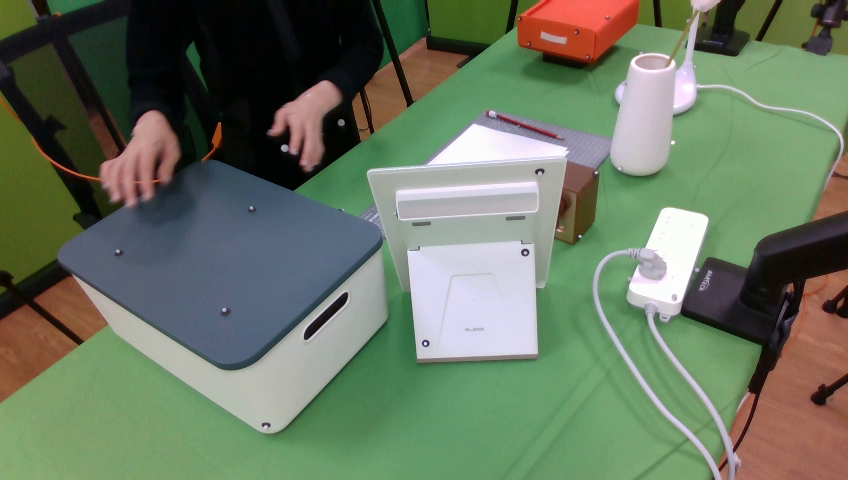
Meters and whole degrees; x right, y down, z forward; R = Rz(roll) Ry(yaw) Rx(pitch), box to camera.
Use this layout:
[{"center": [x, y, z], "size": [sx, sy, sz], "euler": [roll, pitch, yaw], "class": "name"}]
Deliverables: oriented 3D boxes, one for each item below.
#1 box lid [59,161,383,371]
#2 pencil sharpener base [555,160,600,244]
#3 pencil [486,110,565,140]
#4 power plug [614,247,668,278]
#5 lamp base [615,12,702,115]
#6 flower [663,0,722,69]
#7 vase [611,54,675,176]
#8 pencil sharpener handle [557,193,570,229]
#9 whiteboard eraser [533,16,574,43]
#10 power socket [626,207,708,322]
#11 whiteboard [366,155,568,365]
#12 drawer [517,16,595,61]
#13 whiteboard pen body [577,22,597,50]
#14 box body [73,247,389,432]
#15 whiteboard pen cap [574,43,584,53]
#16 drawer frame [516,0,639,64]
[{"center": [-0.262, 0.010, 0.777], "size": [0.369, 0.015, 0.264], "euler": [21, 48, 29], "class": "box lid"}, {"center": [0.228, -0.057, 0.945], "size": [0.061, 0.107, 0.077], "euler": [24, 50, 31], "class": "pencil sharpener base"}, {"center": [0.203, -0.232, 1.226], "size": [0.192, 0.012, 0.012], "euler": [29, 52, 33], "class": "pencil"}, {"center": [0.306, 0.031, 0.851], "size": [0.072, 0.053, 0.035], "euler": [24, 49, 33], "class": "power plug"}, {"center": [0.484, -0.364, 1.211], "size": [0.180, 0.181, 0.159], "euler": [-15, 41, -14], "class": "lamp base"}, {"center": [0.379, -0.261, 0.965], "size": [0.044, 0.362, 0.038], "euler": [20, 53, 5], "class": "flower"}, {"center": [0.377, -0.209, 1.031], "size": [0.098, 0.201, 0.097], "euler": [-3, 40, 3], "class": "vase"}, {"center": [0.195, -0.038, 0.908], "size": [0.035, 0.068, 0.031], "euler": [24, 50, 30], "class": "pencil sharpener handle"}, {"center": [0.305, -0.493, 1.423], "size": [0.055, 0.042, 0.113], "euler": [26, 43, 25], "class": "whiteboard eraser"}, {"center": [0.359, 0.026, 0.886], "size": [0.072, 0.033, 0.227], "euler": [16, 46, 26], "class": "power socket"}, {"center": [0.059, 0.049, 0.738], "size": [0.217, 0.307, 0.143], "euler": [-3, 60, 5], "class": "whiteboard"}, {"center": [0.353, -0.505, 1.404], "size": [0.193, 0.073, 0.212], "euler": [25, 50, 33], "class": "drawer"}, {"center": [0.372, -0.468, 1.390], "size": [0.017, 0.017, 0.141], "euler": [14, 47, 23], "class": "whiteboard pen body"}, {"center": [-0.255, 0.065, 0.827], "size": [0.361, 0.161, 0.255], "euler": [21, 48, 29], "class": "box body"}, {"center": [0.346, -0.430, 1.350], "size": [0.018, 0.018, 0.033], "euler": [15, 37, 24], "class": "whiteboard pen cap"}, {"center": [0.356, -0.507, 1.410], "size": [0.200, 0.083, 0.214], "euler": [25, 51, 32], "class": "drawer frame"}]
